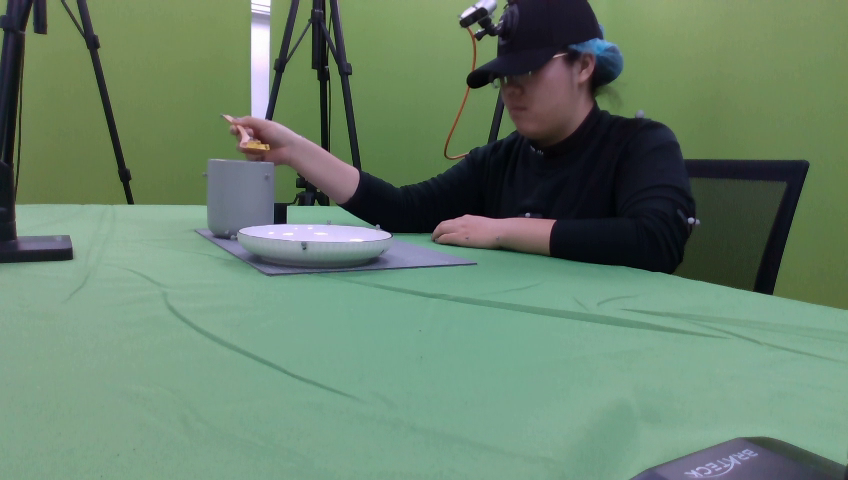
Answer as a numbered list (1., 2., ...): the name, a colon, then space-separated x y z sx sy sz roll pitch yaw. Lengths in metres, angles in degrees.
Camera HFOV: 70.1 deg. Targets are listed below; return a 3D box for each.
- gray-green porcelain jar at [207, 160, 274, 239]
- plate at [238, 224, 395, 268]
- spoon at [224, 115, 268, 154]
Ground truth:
1. gray-green porcelain jar: -0.304 -0.068 1.003 0.106 0.126 0.106 3 7 0
2. plate: -0.144 0.007 0.823 0.208 0.039 0.207 3 7 0
3. spoon: -0.309 -0.183 1.033 0.042 0.021 0.192 -1 31 -33
